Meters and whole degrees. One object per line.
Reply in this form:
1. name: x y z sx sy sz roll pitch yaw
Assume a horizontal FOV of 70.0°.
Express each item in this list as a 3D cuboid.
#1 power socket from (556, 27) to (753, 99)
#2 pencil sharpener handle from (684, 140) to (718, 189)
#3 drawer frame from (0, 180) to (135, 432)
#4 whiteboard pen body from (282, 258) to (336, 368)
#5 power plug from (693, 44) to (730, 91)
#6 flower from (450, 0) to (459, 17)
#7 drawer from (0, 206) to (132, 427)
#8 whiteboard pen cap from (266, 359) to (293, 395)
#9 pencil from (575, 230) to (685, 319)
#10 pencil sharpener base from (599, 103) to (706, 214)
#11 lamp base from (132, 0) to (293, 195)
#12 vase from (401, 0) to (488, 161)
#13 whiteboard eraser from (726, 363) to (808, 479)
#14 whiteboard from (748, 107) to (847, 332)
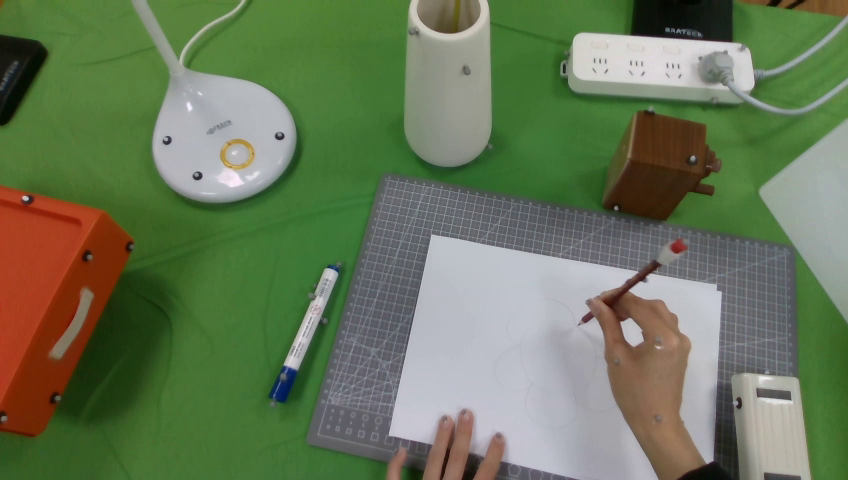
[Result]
1. power socket: 0.273 -0.210 0.718 0.227 0.033 0.071 5 68 2
2. pencil sharpener handle: 0.282 -0.074 0.607 0.030 0.068 0.036 13 66 6
3. drawer frame: -0.415 0.044 0.546 0.213 0.083 0.200 14 69 4
4. whiteboard pen body: -0.118 0.081 0.605 0.017 0.017 0.140 15 64 8
5. power plug: 0.321 -0.188 0.683 0.035 0.053 0.072 15 69 8
6. flower: 0.028 -0.213 0.543 0.038 0.364 0.043 -1 48 -7
7. drawer: -0.409 0.043 0.544 0.211 0.074 0.193 13 69 6
8. whiteboard pen cap: -0.137 0.130 0.579 0.018 0.018 0.033 16 62 8
9. pencil: 0.167 0.037 0.518 0.012 0.195 0.012 4 64 -8
10. pencil sharpener base: 0.233 -0.080 0.624 0.076 0.108 0.061 13 67 6
11. lamp base: -0.240 -0.161 0.623 0.160 0.181 0.178 -42 69 -16
12. vase: 0.020 -0.165 0.612 0.098 0.201 0.097 -1 66 2
13. whiteboard eraser: 0.308 0.170 0.549 0.055 0.042 0.112 6 67 2
14. whiteboard: 0.503 -0.058 0.537 0.144 0.307 0.215 -12 65 -25
